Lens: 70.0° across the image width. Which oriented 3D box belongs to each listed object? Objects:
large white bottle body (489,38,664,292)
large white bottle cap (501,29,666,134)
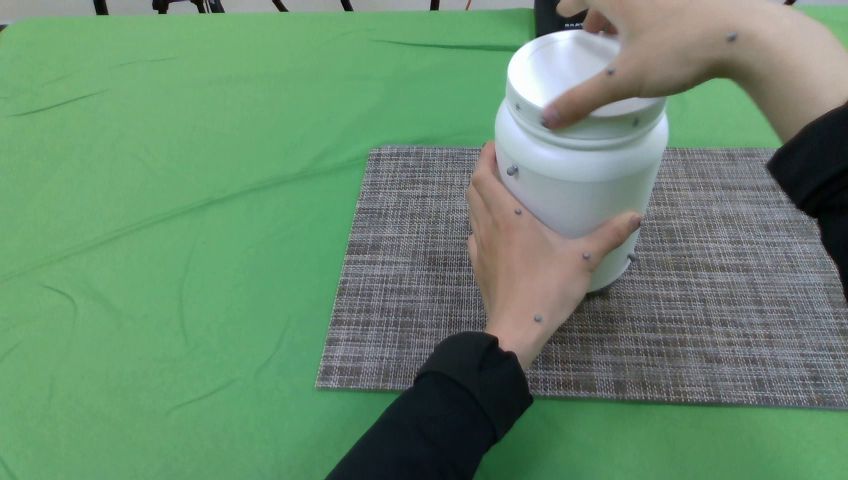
[{"bbox_3d":[0.119,-0.060,0.499,0.130,0.186,0.129,-2,48,2],"label":"large white bottle body"},{"bbox_3d":[0.113,-0.117,0.436,0.115,0.018,0.113,-2,47,3],"label":"large white bottle cap"}]
